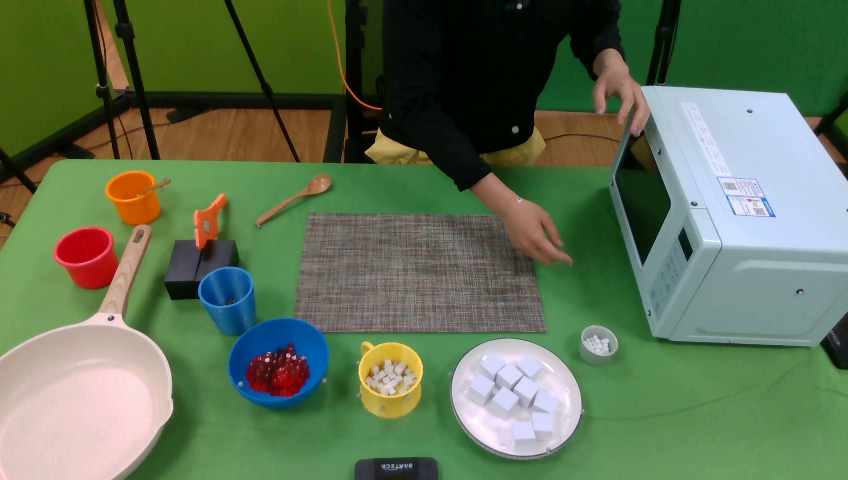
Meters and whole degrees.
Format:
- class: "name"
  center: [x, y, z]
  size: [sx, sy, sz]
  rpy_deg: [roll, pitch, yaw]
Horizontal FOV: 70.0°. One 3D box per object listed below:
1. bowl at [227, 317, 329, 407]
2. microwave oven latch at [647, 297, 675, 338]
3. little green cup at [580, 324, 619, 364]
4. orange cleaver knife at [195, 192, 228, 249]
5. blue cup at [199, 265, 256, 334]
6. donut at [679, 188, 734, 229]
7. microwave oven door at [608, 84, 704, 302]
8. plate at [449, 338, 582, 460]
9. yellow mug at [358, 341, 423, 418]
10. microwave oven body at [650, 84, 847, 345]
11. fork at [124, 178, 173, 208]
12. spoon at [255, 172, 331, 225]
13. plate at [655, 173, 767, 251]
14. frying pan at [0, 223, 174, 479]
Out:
- class: "bowl"
  center: [-0.222, 0.203, 0.947]
  size: [0.151, 0.077, 0.150]
  rpy_deg: [2, 46, -2]
- class: "microwave oven latch"
  center: [0.413, 0.133, 1.060]
  size: [0.030, 0.029, 0.078]
  rpy_deg: [5, 46, 2]
- class: "little green cup"
  center: [0.296, 0.179, 1.032]
  size: [0.061, 0.039, 0.061]
  rpy_deg: [2, 44, -2]
- class: "orange cleaver knife"
  center: [-0.406, -0.042, 1.163]
  size: [0.012, 0.077, 0.210]
  rpy_deg: [-1, 18, -3]
- class: "blue cup"
  center: [-0.321, 0.106, 1.014]
  size: [0.093, 0.101, 0.092]
  rpy_deg: [2, 48, -2]
- class: "donut"
  center: [0.546, -0.062, 1.175]
  size: [0.099, 0.048, 0.098]
  rpy_deg: [0, 44, 1]
- class: "microwave oven door"
  center: [0.425, -0.096, 1.138]
  size: [0.039, 0.245, 0.353]
  rpy_deg: [2, 46, -1]
- class: "plate"
  center: [0.141, 0.251, 0.955]
  size: [0.208, 0.039, 0.206]
  rpy_deg: [2, 47, -2]
- class: "yellow mug"
  center: [-0.062, 0.210, 0.961]
  size: [0.100, 0.064, 0.130]
  rpy_deg: [-29, 54, -27]
- class: "microwave oven body"
  center: [0.569, -0.054, 1.116]
  size: [0.326, 0.261, 0.439]
  rpy_deg: [2, 46, -1]
- class: "fork"
  center: [-0.525, -0.090, 1.154]
  size: [0.207, 0.019, 0.028]
  rpy_deg: [-17, 27, 45]
- class: "spoon"
  center: [-0.272, -0.087, 1.257]
  size: [0.041, 0.022, 0.193]
  rpy_deg: [43, 57, 17]
- class: "plate"
  center: [0.556, -0.052, 1.187]
  size: [0.209, 0.038, 0.208]
  rpy_deg: [2, 46, -2]
- class: "frying pan"
  center: [-0.505, 0.169, 0.941]
  size: [0.307, 0.103, 0.485]
  rpy_deg: [5, 54, -1]
